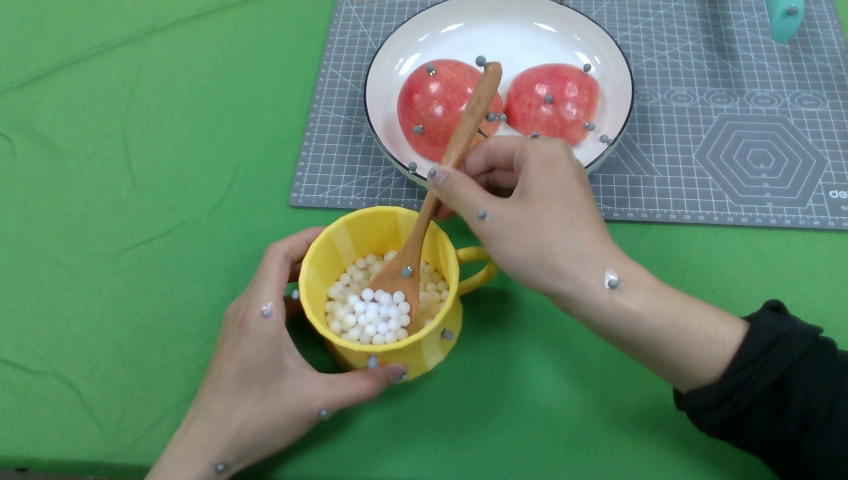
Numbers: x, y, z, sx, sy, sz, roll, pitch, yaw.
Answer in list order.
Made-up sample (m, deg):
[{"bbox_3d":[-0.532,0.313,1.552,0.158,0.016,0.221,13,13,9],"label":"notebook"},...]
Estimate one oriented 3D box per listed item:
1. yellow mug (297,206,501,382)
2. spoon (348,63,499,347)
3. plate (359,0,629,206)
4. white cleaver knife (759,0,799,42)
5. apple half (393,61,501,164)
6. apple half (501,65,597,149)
[{"bbox_3d":[-0.011,0.032,0.398,0.131,0.064,0.099,-17,63,-6],"label":"yellow mug"},{"bbox_3d":[0.002,-0.017,0.374,0.041,0.022,0.194,30,106,20],"label":"spoon"},{"bbox_3d":[0.053,-0.111,0.484,0.209,0.038,0.207,-2,62,3],"label":"plate"},{"bbox_3d":[0.286,-0.273,0.538,0.021,0.066,0.284,1,58,10],"label":"white cleaver knife"},{"bbox_3d":[0.016,-0.106,0.465,0.081,0.054,0.074,-36,62,-14],"label":"apple half"},{"bbox_3d":[0.098,-0.113,0.473,0.081,0.033,0.080,-1,64,3],"label":"apple half"}]
